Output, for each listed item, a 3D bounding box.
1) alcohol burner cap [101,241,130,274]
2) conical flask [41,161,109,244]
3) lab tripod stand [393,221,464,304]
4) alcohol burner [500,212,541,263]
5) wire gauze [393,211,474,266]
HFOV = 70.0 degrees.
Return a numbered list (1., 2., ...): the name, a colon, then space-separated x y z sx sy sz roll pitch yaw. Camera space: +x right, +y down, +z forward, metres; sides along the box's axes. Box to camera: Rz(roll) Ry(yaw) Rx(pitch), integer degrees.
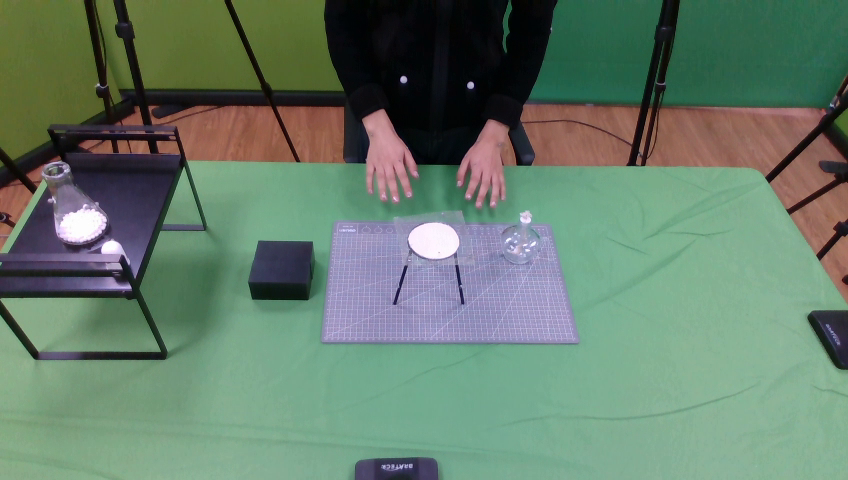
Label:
1. alcohol burner cap: -0.449 0.022 0.878 0.034 0.048 0.033 2 45 -2
2. conical flask: -0.522 -0.058 0.894 0.075 0.122 0.075 2 46 -2
3. lab tripod stand: 0.010 0.045 1.075 0.148 0.132 0.147 2 48 -2
4. alcohol burner: 0.187 -0.011 1.156 0.078 0.120 0.077 2 48 -2
5. wire gauze: 0.015 -0.003 1.028 0.125 0.011 0.120 -4 47 -7
